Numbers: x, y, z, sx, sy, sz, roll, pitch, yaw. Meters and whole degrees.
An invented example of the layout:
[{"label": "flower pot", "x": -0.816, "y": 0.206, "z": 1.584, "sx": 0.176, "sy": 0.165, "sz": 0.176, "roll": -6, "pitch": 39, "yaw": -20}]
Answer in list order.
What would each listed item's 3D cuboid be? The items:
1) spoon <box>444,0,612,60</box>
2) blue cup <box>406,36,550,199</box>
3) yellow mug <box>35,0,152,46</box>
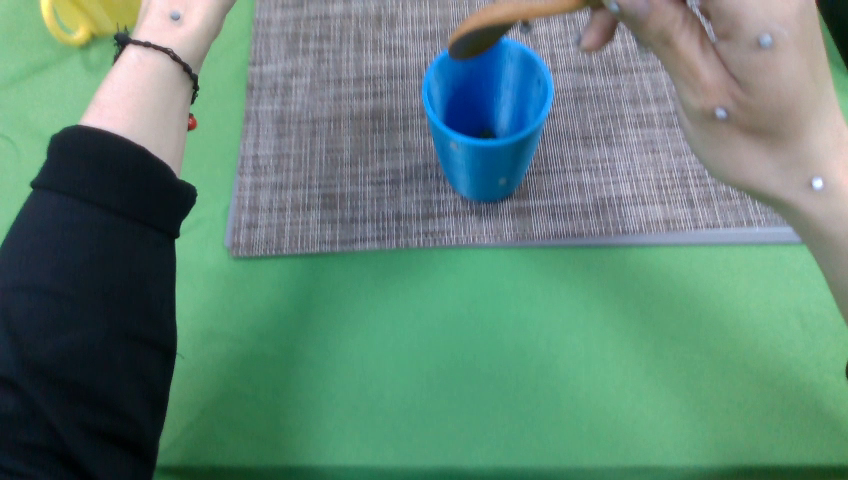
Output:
[{"label": "spoon", "x": 0.063, "y": -0.106, "z": 0.265, "sx": 0.042, "sy": 0.192, "sz": 0.022, "roll": -19, "pitch": 104, "yaw": -24}, {"label": "blue cup", "x": 0.041, "y": -0.079, "z": 0.433, "sx": 0.092, "sy": 0.101, "sz": 0.092, "roll": -1, "pitch": 66, "yaw": 4}, {"label": "yellow mug", "x": -0.307, "y": -0.233, "z": 0.541, "sx": 0.100, "sy": 0.064, "sz": 0.130, "roll": 9, "pitch": 67, "yaw": 6}]
